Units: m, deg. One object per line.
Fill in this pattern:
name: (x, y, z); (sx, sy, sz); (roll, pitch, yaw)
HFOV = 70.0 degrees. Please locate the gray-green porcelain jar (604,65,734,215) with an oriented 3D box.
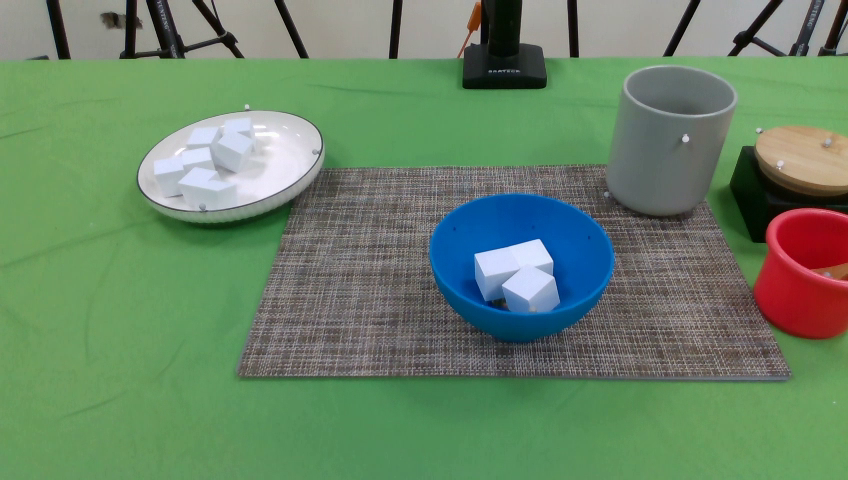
gray-green porcelain jar: (0.244, -0.097, 0.621); (0.106, 0.127, 0.105); (-2, 42, 2)

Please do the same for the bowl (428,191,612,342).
bowl: (0.079, 0.034, 0.518); (0.151, 0.077, 0.150); (-1, 42, 2)

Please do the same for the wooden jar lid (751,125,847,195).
wooden jar lid: (0.383, -0.079, 0.604); (0.108, 0.021, 0.107); (-2, 41, 2)

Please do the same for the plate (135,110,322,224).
plate: (-0.219, -0.083, 0.700); (0.209, 0.038, 0.207); (-2, 42, 2)

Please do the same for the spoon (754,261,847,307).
spoon: (0.364, 0.015, 0.481); (0.022, 0.193, 0.041); (44, 43, -17)
